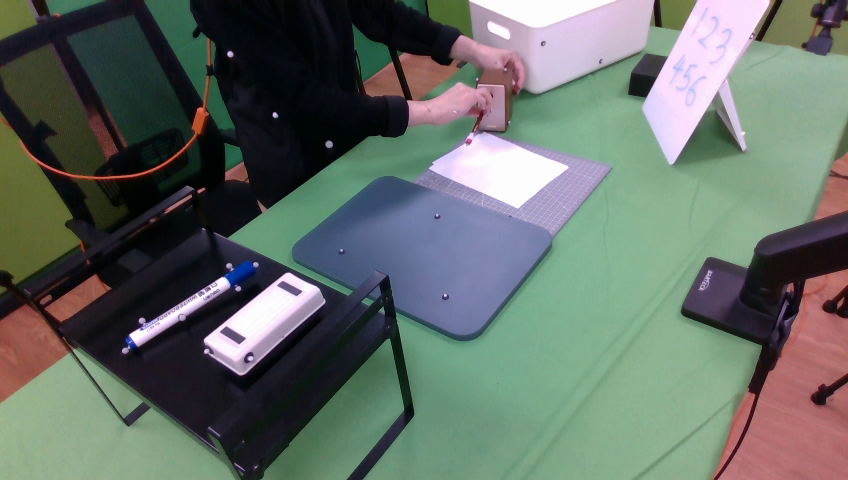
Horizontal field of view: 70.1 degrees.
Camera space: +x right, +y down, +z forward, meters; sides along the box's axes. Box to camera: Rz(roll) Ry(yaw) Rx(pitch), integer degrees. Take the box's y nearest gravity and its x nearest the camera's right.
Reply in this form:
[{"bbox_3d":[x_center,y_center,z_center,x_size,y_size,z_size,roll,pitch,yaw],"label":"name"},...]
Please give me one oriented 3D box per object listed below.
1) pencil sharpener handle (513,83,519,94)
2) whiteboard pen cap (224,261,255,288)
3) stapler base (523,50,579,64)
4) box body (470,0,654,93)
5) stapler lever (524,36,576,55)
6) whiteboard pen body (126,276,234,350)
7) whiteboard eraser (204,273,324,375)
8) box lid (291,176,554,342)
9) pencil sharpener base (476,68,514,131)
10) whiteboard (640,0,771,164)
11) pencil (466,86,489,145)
[{"bbox_3d":[0.169,-0.329,1.245,0.068,0.036,0.030,39,43,-15],"label":"pencil sharpener handle"},{"bbox_3d":[-0.207,0.039,0.677,0.033,0.018,0.018,-36,47,-18],"label":"whiteboard pen cap"},{"bbox_3d":[0.301,-0.436,1.434,0.130,0.024,0.041,5,40,16],"label":"stapler base"},{"bbox_3d":[0.319,-0.498,1.405,0.365,0.161,0.252,-26,43,-21],"label":"box body"},{"bbox_3d":[0.296,-0.456,1.418,0.117,0.040,0.027,4,40,17],"label":"stapler lever"},{"bbox_3d":[-0.251,0.070,0.649,0.141,0.017,0.017,-36,48,-26],"label":"whiteboard pen body"},{"bbox_3d":[-0.157,0.084,0.605,0.055,0.042,0.113,24,49,30],"label":"whiteboard eraser"},{"bbox_3d":[-0.005,0.011,0.972,0.368,0.015,0.264,21,49,30],"label":"box lid"},{"bbox_3d":[0.145,-0.284,1.223,0.061,0.107,0.076,6,42,17],"label":"pencil sharpener base"},{"bbox_3d":[0.543,-0.299,1.076,0.144,0.305,0.216,12,40,-7],"label":"whiteboard"},{"bbox_3d":[0.103,-0.239,1.122,0.012,0.012,0.193,7,49,15],"label":"pencil"}]
